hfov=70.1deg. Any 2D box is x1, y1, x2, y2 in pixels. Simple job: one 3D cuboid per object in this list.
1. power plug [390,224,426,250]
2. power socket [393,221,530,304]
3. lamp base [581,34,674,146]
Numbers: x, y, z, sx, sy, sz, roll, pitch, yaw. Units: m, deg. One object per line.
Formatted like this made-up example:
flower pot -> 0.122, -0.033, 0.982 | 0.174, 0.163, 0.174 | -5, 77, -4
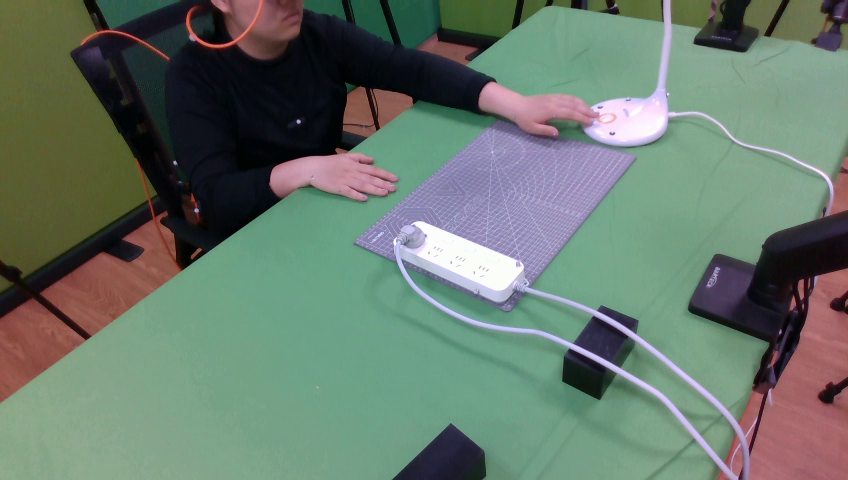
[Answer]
power plug -> -0.030, 0.004, 0.920 | 0.073, 0.053, 0.035 | -34, 47, -26
power socket -> 0.050, 0.030, 0.914 | 0.225, 0.033, 0.072 | 24, 51, 31
lamp base -> 0.393, -0.291, 1.129 | 0.180, 0.181, 0.159 | -11, 41, -8
